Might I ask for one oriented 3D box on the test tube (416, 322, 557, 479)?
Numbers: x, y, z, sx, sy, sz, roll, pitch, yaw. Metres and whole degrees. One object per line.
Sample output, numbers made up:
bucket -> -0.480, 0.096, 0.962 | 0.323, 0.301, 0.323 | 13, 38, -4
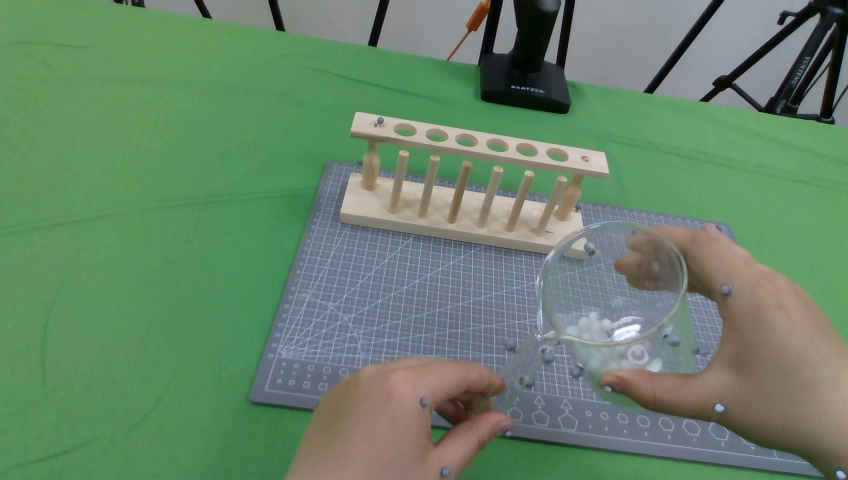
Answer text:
test tube -> 0.031, 0.102, 0.352 | 0.017, 0.151, 0.017 | 21, 33, -14

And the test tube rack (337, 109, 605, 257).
test tube rack -> 0.044, -0.054, 0.583 | 0.243, 0.086, 0.066 | 9, 43, -4

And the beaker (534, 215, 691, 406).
beaker -> 0.109, 0.047, 0.344 | 0.084, 0.101, 0.073 | -37, 48, -1
